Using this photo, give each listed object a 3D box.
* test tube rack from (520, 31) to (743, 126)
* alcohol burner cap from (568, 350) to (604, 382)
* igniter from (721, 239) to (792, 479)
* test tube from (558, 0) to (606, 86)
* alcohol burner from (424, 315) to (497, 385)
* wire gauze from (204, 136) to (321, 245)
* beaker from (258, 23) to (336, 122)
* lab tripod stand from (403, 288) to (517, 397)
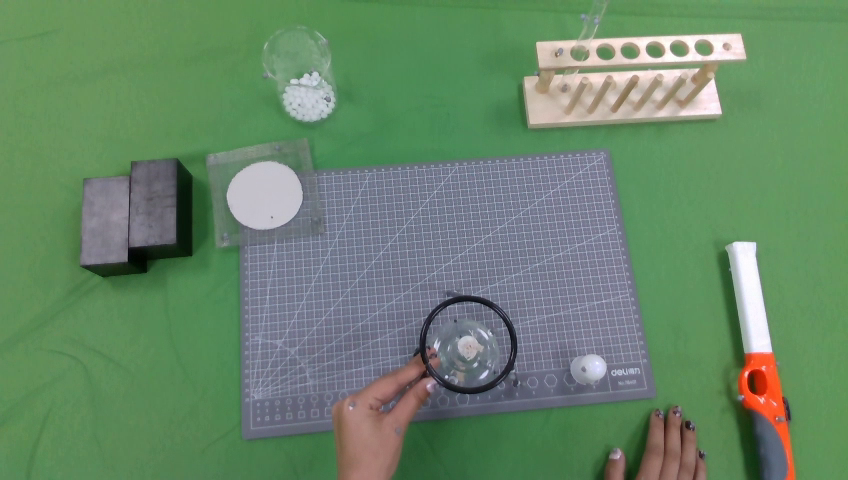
[{"bbox_3d":[0.246,-0.193,0.730,0.242,0.085,0.066,-4,74,-3],"label":"test tube rack"},{"bbox_3d":[0.178,0.136,0.656,0.034,0.048,0.033,0,73,-1],"label":"alcohol burner cap"},{"bbox_3d":[0.370,0.132,0.676,0.057,0.025,0.275,2,74,-12],"label":"igniter"},{"bbox_3d":[0.175,-0.221,0.684,0.017,0.151,0.017,1,70,-2],"label":"test tube"},{"bbox_3d":[0.039,0.113,0.619,0.078,0.119,0.077,1,72,-3],"label":"alcohol burner"},{"bbox_3d":[-0.191,-0.059,0.711,0.125,0.011,0.120,-10,74,-4],"label":"wire gauze"},{"bbox_3d":[-0.141,-0.187,0.705,0.074,0.100,0.083,-35,79,-10],"label":"beaker"},{"bbox_3d":[0.035,0.107,0.610,0.148,0.132,0.147,0,73,0],"label":"lab tripod stand"}]
